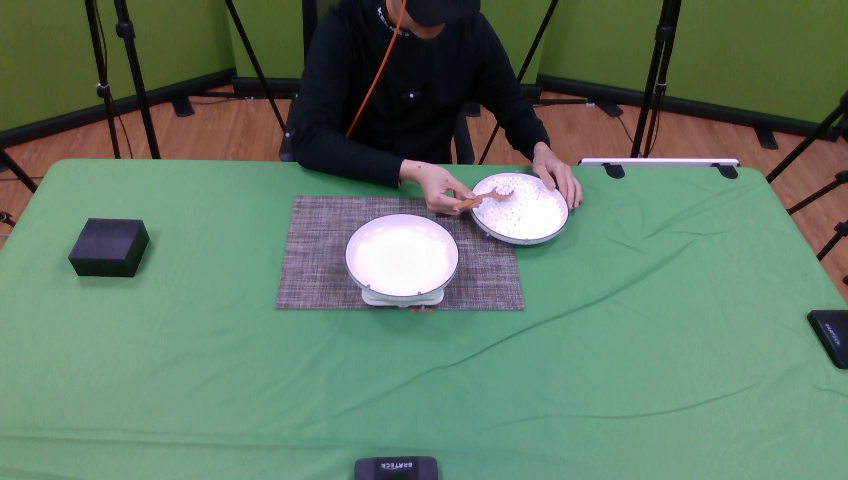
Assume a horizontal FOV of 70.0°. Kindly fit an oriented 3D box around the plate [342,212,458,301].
[{"bbox_3d":[-0.043,0.033,1.105,0.208,0.039,0.206,2,46,-2],"label":"plate"}]

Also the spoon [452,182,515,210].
[{"bbox_3d":[0.120,-0.089,1.225,0.041,0.022,0.194,41,37,26],"label":"spoon"}]

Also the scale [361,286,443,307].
[{"bbox_3d":[-0.042,0.040,1.143,0.149,0.032,0.199,0,46,-4],"label":"scale"}]

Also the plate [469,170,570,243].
[{"bbox_3d":[0.196,-0.066,1.258,0.209,0.038,0.208,3,46,-2],"label":"plate"}]
